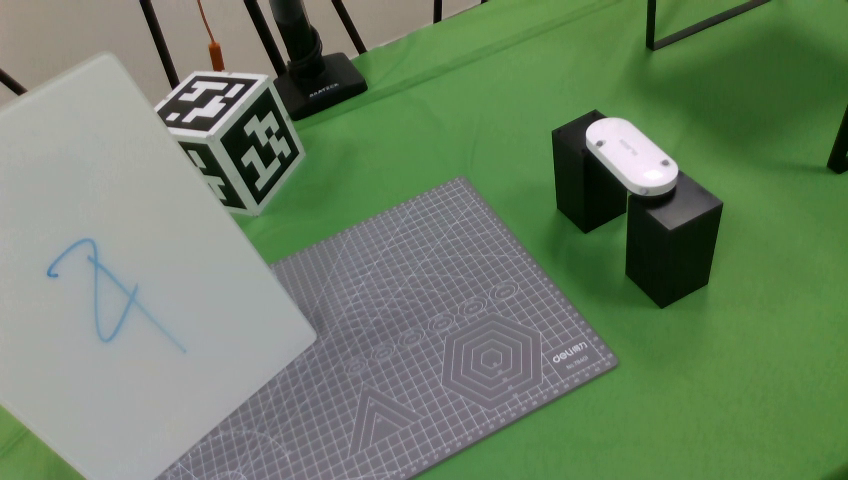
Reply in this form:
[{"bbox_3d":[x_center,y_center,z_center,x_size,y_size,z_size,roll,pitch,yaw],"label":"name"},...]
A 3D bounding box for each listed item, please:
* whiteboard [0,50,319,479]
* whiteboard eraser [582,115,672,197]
[{"bbox_3d":[-0.279,0.031,0.526,0.217,0.308,0.142,-41,30,-21],"label":"whiteboard"},{"bbox_3d":[0.170,-0.074,0.514,0.041,0.019,0.100,-23,47,-6],"label":"whiteboard eraser"}]
